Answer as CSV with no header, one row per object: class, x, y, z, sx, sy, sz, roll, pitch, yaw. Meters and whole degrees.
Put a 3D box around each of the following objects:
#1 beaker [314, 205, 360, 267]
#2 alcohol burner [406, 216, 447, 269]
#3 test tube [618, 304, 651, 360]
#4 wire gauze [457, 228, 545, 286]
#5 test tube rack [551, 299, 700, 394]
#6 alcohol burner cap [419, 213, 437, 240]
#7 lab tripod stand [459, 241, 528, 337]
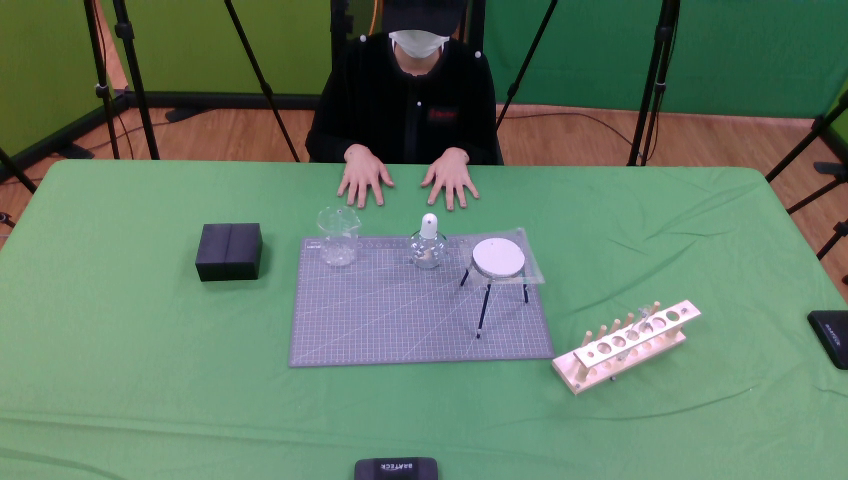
beaker,-0.160,-0.004,1.132,0.084,0.101,0.073,9,46,3
alcohol burner,0.006,-0.002,1.134,0.078,0.120,0.077,2,48,-2
test tube,0.335,0.150,0.967,0.017,0.151,0.017,0,50,0
wire gauze,0.126,0.029,1.006,0.125,0.011,0.120,-4,46,-10
test tube rack,0.339,0.166,1.021,0.242,0.085,0.066,-19,50,-21
alcohol burner cap,0.009,-0.027,1.109,0.034,0.048,0.033,3,44,-3
lab tripod stand,0.122,0.075,1.054,0.148,0.132,0.147,3,44,-3
